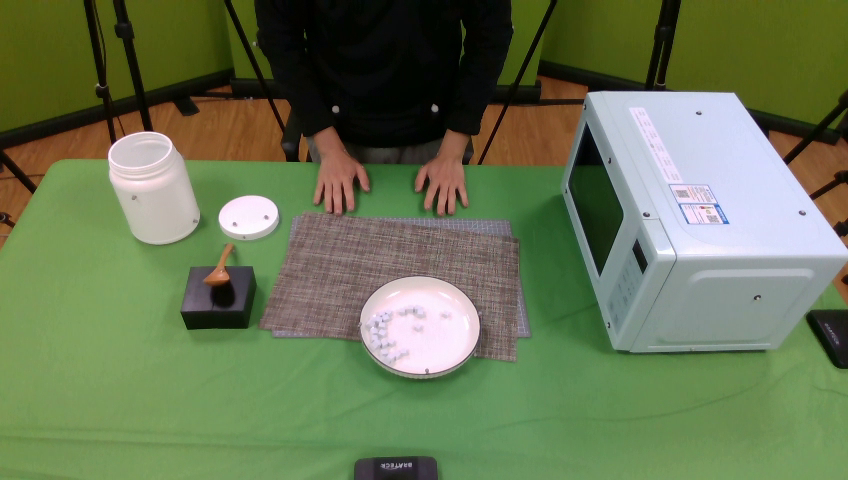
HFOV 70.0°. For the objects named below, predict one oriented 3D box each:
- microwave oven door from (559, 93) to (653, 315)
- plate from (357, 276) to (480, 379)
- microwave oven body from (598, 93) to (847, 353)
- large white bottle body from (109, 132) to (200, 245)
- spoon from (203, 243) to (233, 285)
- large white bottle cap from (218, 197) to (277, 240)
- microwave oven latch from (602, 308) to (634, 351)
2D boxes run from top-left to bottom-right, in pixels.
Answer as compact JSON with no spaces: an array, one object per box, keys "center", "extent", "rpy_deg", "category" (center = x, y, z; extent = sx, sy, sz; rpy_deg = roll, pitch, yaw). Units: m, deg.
[{"center":[0.327,-0.074,1.123],"extent":[0.039,0.245,0.353],"rpy_deg":[-1,46,-5],"category":"microwave oven door"},{"center":[-0.010,0.151,1.038],"extent":[0.209,0.038,0.208],"rpy_deg":[2,47,-2],"category":"plate"},{"center":[0.475,-0.041,1.109],"extent":[0.326,0.261,0.438],"rpy_deg":[-1,45,-4],"category":"microwave oven body"},{"center":[-0.506,-0.097,1.141],"extent":[0.131,0.185,0.130],"rpy_deg":[2,46,-2],"category":"large white bottle body"},{"center":[-0.360,0.039,1.087],"extent":[0.041,0.022,0.192],"rpy_deg":[-5,24,-7],"category":"spoon"},{"center":[-0.354,-0.045,1.220],"extent":[0.115,0.018,0.114],"rpy_deg":[2,45,-2],"category":"large white bottle cap"},{"center":[0.332,0.153,1.044],"extent":[0.030,0.029,0.078],"rpy_deg":[-1,45,-4],"category":"microwave oven latch"}]
